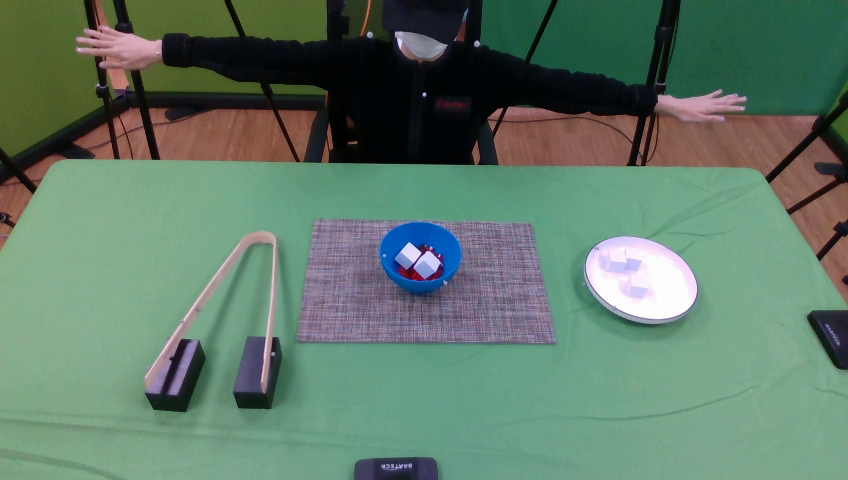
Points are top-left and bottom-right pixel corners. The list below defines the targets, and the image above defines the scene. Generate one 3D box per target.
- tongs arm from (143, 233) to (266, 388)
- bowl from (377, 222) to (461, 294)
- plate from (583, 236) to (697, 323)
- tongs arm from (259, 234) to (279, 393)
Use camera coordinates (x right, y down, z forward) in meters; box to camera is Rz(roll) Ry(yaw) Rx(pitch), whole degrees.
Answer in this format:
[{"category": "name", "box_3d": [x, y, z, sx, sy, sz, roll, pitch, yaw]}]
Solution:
[{"category": "tongs arm", "box_3d": [-0.354, 0.100, 1.022, 0.051, 0.026, 0.383, 5, 34, 5]}, {"category": "bowl", "box_3d": [-0.010, 0.045, 1.109, 0.151, 0.077, 0.150, 2, 46, -2]}, {"category": "plate", "box_3d": [0.403, 0.078, 1.144, 0.209, 0.038, 0.208, 2, 45, -2]}, {"category": "tongs arm", "box_3d": [-0.265, 0.105, 1.023, 0.028, 0.028, 0.385, -7, 35, -6]}]
